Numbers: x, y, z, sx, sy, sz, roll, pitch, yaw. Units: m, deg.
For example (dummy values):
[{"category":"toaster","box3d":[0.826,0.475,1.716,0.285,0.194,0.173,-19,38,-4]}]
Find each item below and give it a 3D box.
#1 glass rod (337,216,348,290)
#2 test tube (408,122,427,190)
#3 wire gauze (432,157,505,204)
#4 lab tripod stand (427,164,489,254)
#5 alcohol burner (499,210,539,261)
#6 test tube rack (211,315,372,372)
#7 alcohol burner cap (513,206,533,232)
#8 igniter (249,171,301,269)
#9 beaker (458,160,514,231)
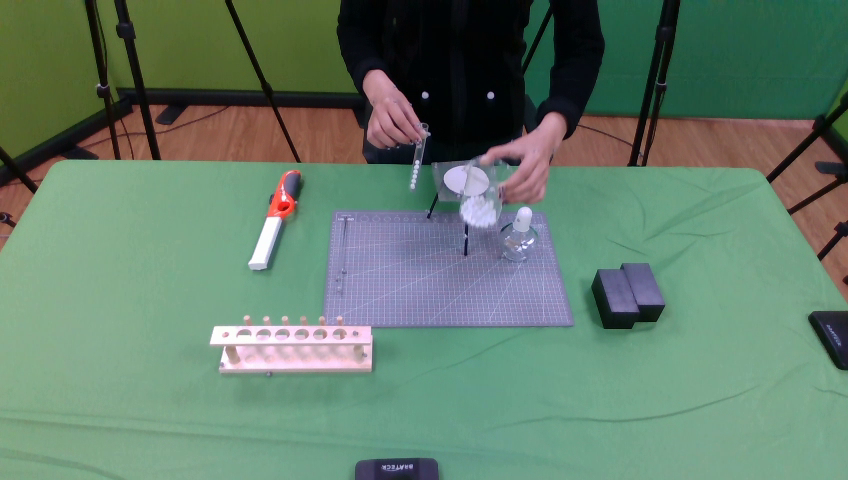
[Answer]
[{"category":"glass rod","box3d":[-0.158,0.021,1.171,0.008,0.008,0.198,1,43,-2]},{"category":"test tube","box3d":[-0.013,-0.145,1.077,0.017,0.151,0.017,6,48,-6]},{"category":"wire gauze","box3d":[0.081,-0.112,1.137,0.125,0.011,0.120,-2,48,-6]},{"category":"lab tripod stand","box3d":[0.078,-0.068,1.188,0.148,0.132,0.147,3,47,-3]},{"category":"alcohol burner","box3d":[0.185,-0.016,1.159,0.078,0.120,0.077,2,48,-2]},{"category":"test tube rack","box3d":[-0.208,0.163,0.982,0.242,0.085,0.066,1,46,-4]},{"category":"alcohol burner cap","box3d":[0.187,-0.042,1.134,0.034,0.048,0.033,6,41,-5]},{"category":"igniter","box3d":[-0.297,-0.049,1.221,0.057,0.025,0.275,-1,45,9]},{"category":"beaker","box3d":[0.097,-0.072,1.007,0.084,0.100,0.073,9,41,-3]}]
